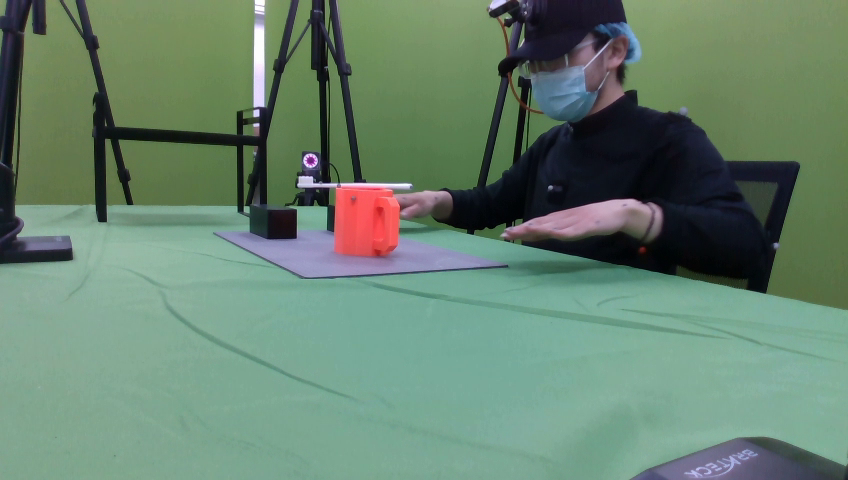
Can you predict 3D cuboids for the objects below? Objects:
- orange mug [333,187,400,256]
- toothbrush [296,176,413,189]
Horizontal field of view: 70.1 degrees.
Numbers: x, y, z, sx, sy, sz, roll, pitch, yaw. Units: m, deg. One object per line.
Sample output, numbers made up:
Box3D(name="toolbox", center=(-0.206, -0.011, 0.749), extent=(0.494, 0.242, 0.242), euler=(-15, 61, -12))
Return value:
Box3D(name="orange mug", center=(-0.080, -0.029, 0.888), extent=(0.084, 0.100, 0.125), euler=(-3, 5, -40))
Box3D(name="toothbrush", center=(-0.101, -0.085, 0.911), extent=(0.183, 0.016, 0.014), euler=(-1, 4, -25))
